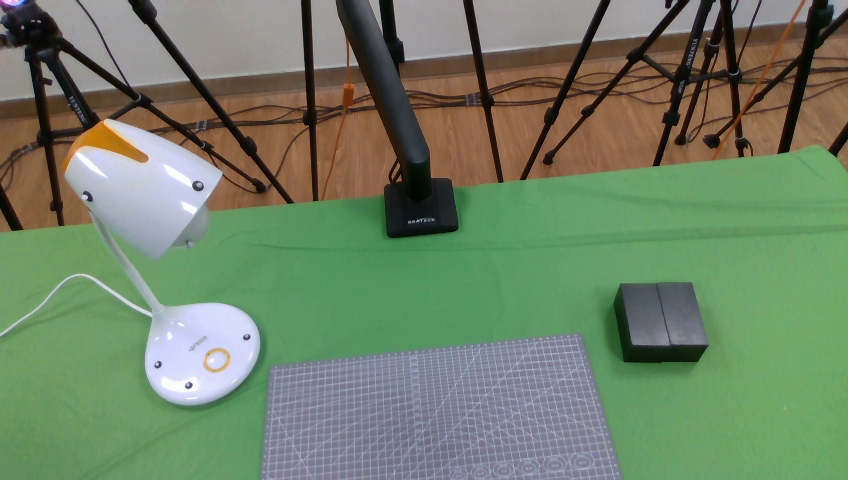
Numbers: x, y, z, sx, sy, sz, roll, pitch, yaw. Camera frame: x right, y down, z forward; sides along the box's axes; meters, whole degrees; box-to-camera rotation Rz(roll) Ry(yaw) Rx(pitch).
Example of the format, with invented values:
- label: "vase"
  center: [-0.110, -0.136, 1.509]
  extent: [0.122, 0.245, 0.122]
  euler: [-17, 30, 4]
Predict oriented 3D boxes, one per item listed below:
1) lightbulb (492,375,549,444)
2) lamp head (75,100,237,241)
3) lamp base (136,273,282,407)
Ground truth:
- label: "lightbulb"
  center: [0.120, 0.216, 0.788]
  extent: [0.059, 0.060, 0.106]
  euler: [-20, 39, -12]
- label: "lamp head"
  center: [-0.260, -0.071, 0.575]
  extent: [0.124, 0.112, 0.111]
  euler: [29, 50, -22]
- label: "lamp base"
  center: [-0.297, 0.113, 0.802]
  extent: [0.179, 0.182, 0.159]
  euler: [7, 53, 11]
